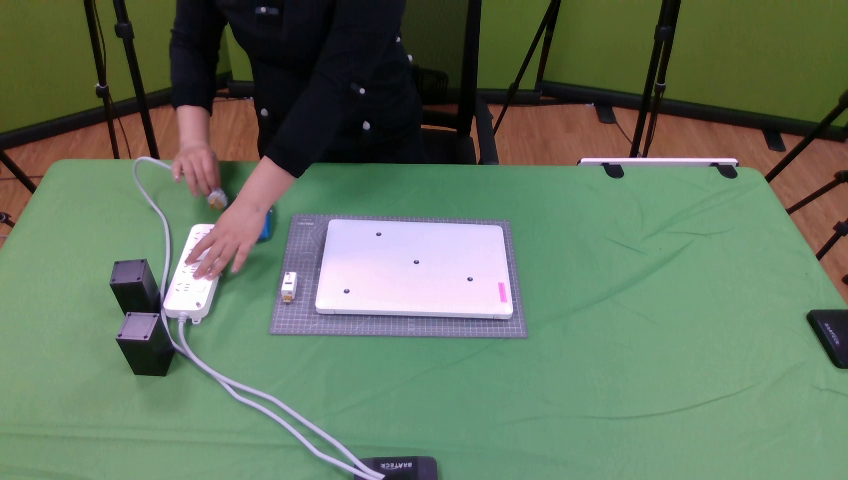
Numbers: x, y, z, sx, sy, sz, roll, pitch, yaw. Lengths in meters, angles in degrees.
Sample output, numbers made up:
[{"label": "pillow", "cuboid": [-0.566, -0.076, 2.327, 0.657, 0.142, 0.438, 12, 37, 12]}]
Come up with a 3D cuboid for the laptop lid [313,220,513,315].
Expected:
[{"label": "laptop lid", "cuboid": [-0.017, 0.045, 1.138, 0.357, 0.013, 0.240, 3, 43, -1]}]

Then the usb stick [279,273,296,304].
[{"label": "usb stick", "cuboid": [-0.245, 0.088, 1.085, 0.021, 0.027, 0.059, 5, 46, -3]}]

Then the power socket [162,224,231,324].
[{"label": "power socket", "cuboid": [-0.412, 0.053, 1.107, 0.072, 0.033, 0.225, 4, 46, -3]}]

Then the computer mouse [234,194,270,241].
[{"label": "computer mouse", "cuboid": [-0.341, -0.049, 1.207, 0.063, 0.041, 0.116, 0, 51, -8]}]

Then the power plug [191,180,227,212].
[{"label": "power plug", "cuboid": [-0.425, -0.082, 1.189, 0.073, 0.035, 0.052, 12, 45, -16]}]

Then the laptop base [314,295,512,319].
[{"label": "laptop base", "cuboid": [-0.018, 0.055, 1.144, 0.354, 0.023, 0.234, 2, 42, -2]}]
